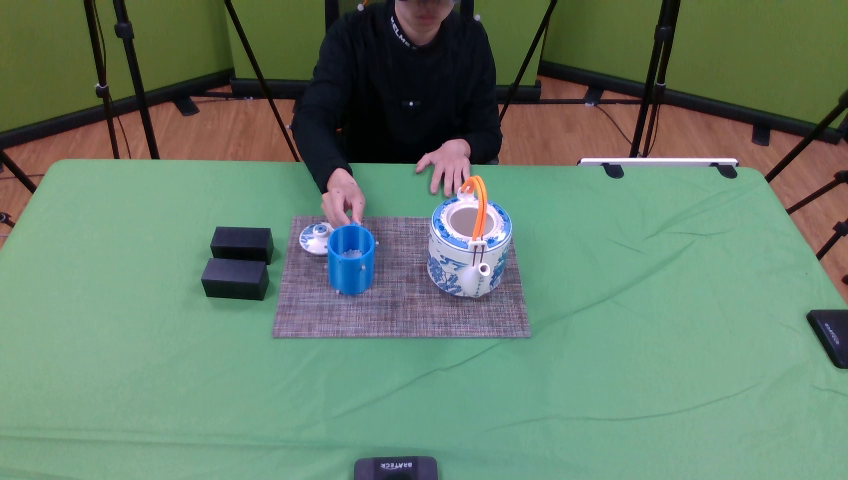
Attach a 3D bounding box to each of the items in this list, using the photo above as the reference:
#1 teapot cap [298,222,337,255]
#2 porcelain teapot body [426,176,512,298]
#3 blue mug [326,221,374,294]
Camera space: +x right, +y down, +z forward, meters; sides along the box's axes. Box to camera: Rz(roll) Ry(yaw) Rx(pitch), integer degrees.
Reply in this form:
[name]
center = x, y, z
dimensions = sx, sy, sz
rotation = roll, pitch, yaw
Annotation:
[teapot cap]
center = -0.201, -0.008, 1.171
dimensions = 0.085, 0.044, 0.084
rotation = 1, 48, -1
[porcelain teapot body]
center = 0.085, 0.009, 1.051
dimensions = 0.145, 0.226, 0.204
rotation = -5, 47, -9
[blue mug]
center = -0.133, 0.023, 1.098
dimensions = 0.082, 0.106, 0.116
rotation = 4, 50, -4
